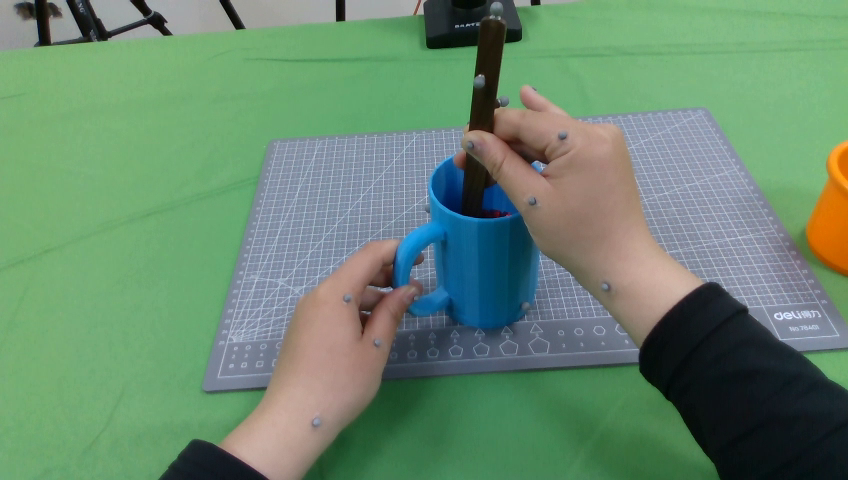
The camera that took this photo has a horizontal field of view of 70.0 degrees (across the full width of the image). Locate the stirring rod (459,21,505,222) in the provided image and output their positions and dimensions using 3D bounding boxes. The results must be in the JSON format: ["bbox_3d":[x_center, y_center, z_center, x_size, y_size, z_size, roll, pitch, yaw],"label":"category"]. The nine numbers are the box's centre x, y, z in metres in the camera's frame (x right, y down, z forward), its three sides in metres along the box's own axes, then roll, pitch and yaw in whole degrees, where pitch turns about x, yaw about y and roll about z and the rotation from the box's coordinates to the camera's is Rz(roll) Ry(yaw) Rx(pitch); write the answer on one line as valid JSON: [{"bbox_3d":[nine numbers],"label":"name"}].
[{"bbox_3d":[0.031,-0.044,0.362,0.014,0.177,0.006,11,44,9],"label":"stirring rod"}]

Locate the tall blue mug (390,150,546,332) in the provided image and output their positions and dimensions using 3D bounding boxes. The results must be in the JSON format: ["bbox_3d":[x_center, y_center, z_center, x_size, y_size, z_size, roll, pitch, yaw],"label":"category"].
[{"bbox_3d":[0.035,0.012,0.418,0.077,0.109,0.107,20,50,23],"label":"tall blue mug"}]
